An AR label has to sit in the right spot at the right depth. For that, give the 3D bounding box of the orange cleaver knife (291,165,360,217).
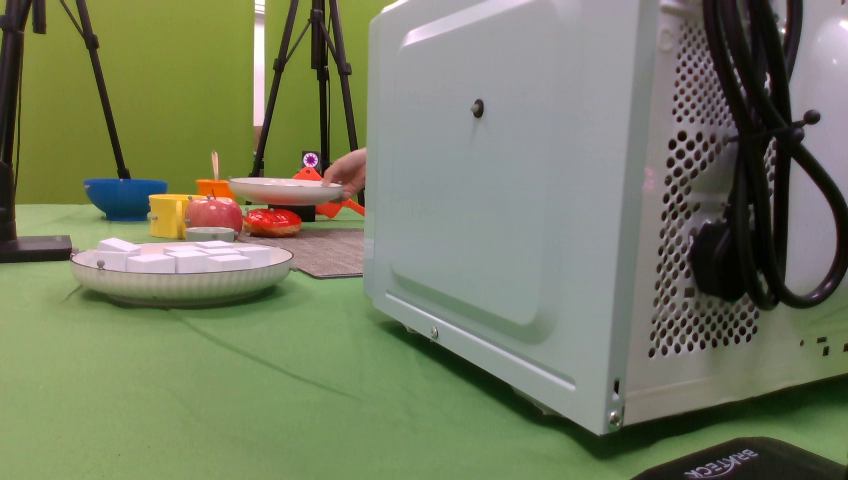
[{"bbox_3d":[-0.211,-0.092,1.382,0.212,0.077,0.012,34,1,-15],"label":"orange cleaver knife"}]

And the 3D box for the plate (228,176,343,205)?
[{"bbox_3d":[-0.258,-0.093,1.136,0.209,0.038,0.209,3,9,0],"label":"plate"}]

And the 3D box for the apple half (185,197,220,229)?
[{"bbox_3d":[-0.338,-0.031,0.927,0.032,0.081,0.081,12,11,31],"label":"apple half"}]

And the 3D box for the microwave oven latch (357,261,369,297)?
[{"bbox_3d":[-0.019,0.033,0.531,0.079,0.029,0.030,-1,7,-27],"label":"microwave oven latch"}]

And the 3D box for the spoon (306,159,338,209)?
[{"bbox_3d":[-0.257,-0.147,1.567,0.041,0.022,0.193,1,50,20],"label":"spoon"}]

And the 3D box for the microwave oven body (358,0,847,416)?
[{"bbox_3d":[0.211,-0.047,0.474,0.444,0.260,0.324,-1,7,-28],"label":"microwave oven body"}]

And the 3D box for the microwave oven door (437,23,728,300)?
[{"bbox_3d":[0.181,-0.072,0.621,0.358,0.243,0.039,-2,8,-29],"label":"microwave oven door"}]

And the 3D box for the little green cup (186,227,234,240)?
[{"bbox_3d":[-0.284,0.005,0.805,0.061,0.038,0.061,2,8,0],"label":"little green cup"}]

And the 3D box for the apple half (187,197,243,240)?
[{"bbox_3d":[-0.305,-0.026,0.907,0.053,0.074,0.081,12,8,31],"label":"apple half"}]

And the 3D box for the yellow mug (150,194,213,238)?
[{"bbox_3d":[-0.401,-0.040,1.003,0.100,0.064,0.130,-1,9,-20],"label":"yellow mug"}]

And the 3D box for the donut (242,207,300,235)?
[{"bbox_3d":[-0.263,-0.031,1.038,0.099,0.048,0.099,4,9,0],"label":"donut"}]

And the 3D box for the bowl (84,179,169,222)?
[{"bbox_3d":[-0.584,-0.078,1.194,0.151,0.077,0.151,3,8,0],"label":"bowl"}]

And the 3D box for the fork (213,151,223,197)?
[{"bbox_3d":[-0.494,-0.143,1.442,0.028,0.018,0.206,-2,52,-20],"label":"fork"}]

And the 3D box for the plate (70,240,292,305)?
[{"bbox_3d":[-0.242,0.031,0.618,0.208,0.039,0.207,2,8,0],"label":"plate"}]
